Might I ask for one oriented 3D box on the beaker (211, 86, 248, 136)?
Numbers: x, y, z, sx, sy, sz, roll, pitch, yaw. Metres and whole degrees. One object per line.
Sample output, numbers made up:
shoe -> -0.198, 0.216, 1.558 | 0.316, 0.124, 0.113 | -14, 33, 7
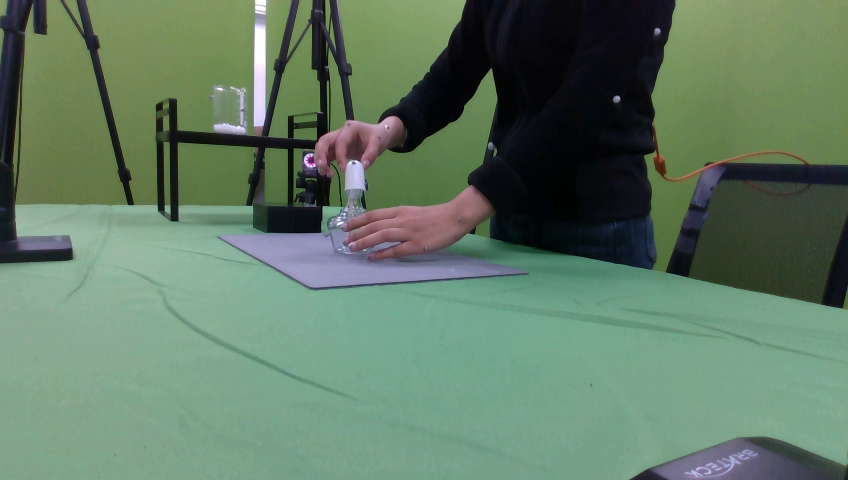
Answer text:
beaker -> -0.413, -0.274, 1.297 | 0.074, 0.100, 0.083 | -5, 11, -44

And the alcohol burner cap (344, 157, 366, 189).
alcohol burner cap -> -0.101, -0.098, 0.893 | 0.034, 0.048, 0.034 | 2, 6, 0

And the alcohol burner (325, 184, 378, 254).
alcohol burner -> -0.107, -0.040, 0.895 | 0.078, 0.119, 0.078 | 2, 5, 0
